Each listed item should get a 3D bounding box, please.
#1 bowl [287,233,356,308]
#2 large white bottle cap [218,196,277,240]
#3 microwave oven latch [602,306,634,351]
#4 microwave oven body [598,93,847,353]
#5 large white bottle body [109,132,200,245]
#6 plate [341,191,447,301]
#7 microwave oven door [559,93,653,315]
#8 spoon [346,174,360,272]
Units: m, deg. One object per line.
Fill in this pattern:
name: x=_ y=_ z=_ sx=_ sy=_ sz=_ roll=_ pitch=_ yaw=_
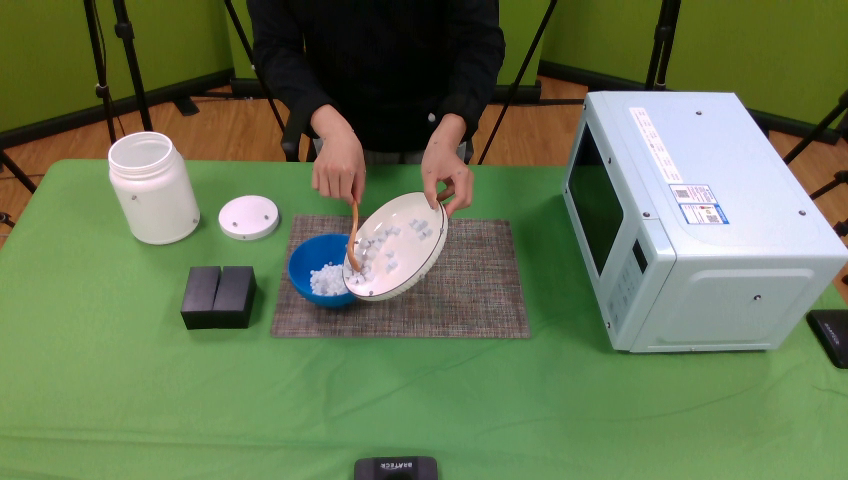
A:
bowl: x=-0.165 y=0.068 z=1.078 sx=0.151 sy=0.077 sz=0.150 roll=3 pitch=45 yaw=-2
large white bottle cap: x=-0.354 y=-0.045 z=1.220 sx=0.115 sy=0.018 sz=0.114 roll=2 pitch=45 yaw=-2
microwave oven latch: x=0.332 y=0.153 z=1.044 sx=0.030 sy=0.029 sz=0.078 roll=0 pitch=45 yaw=-4
microwave oven body: x=0.475 y=-0.041 z=1.109 sx=0.326 sy=0.261 sz=0.438 roll=-1 pitch=45 yaw=-4
large white bottle body: x=-0.506 y=-0.097 z=1.141 sx=0.131 sy=0.185 sz=0.130 roll=2 pitch=46 yaw=-2
plate: x=-0.046 y=0.013 z=0.990 sx=0.209 sy=0.038 sz=0.208 roll=-26 pitch=41 yaw=25
microwave oven door: x=0.327 y=-0.074 z=1.123 sx=0.039 sy=0.245 sz=0.353 roll=-1 pitch=46 yaw=-5
spoon: x=-0.122 y=-0.033 z=1.041 sx=0.021 sy=0.042 sz=0.192 roll=-8 pitch=61 yaw=9
